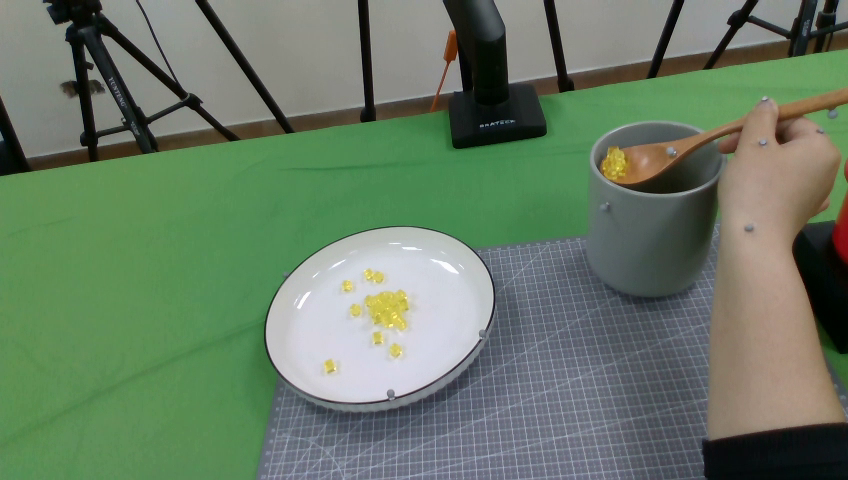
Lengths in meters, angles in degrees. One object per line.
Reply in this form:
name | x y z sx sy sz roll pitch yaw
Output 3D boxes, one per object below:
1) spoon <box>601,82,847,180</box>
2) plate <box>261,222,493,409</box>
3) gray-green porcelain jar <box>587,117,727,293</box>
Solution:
spoon | 0.229 -0.084 0.456 0.193 0.022 0.041 -18 45 35
plate | -0.040 0.066 0.549 0.207 0.039 0.205 -6 43 6
gray-green porcelain jar | 0.196 -0.025 0.528 0.106 0.128 0.105 -6 43 6
